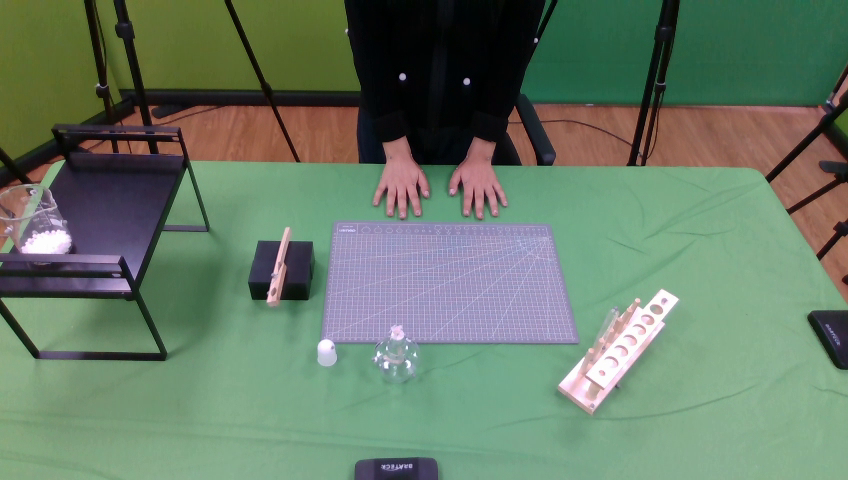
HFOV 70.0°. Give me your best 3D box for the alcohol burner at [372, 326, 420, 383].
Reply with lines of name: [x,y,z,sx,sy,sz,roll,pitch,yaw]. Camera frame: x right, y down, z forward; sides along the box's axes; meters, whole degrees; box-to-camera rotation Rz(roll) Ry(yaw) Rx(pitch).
alcohol burner: [-0.045,0.174,0.961,0.078,0.120,0.077,1,47,-1]

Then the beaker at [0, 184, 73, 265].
beaker: [-0.556,-0.019,0.871,0.084,0.101,0.073,3,47,-2]

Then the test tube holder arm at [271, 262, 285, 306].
test tube holder arm: [-0.250,0.075,1.040,0.010,0.015,0.087,-5,46,3]

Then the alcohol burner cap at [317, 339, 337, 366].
alcohol burner cap: [-0.161,0.182,0.995,0.034,0.048,0.033,2,47,-2]

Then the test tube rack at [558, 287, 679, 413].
test tube rack: [0.326,0.170,1.009,0.066,0.085,0.242,36,54,27]

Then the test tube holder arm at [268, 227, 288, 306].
test tube holder arm: [-0.257,0.043,1.071,0.013,0.015,0.177,-6,46,2]

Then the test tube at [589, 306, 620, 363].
test tube: [0.284,0.152,0.961,0.017,0.151,0.017,2,49,-2]
